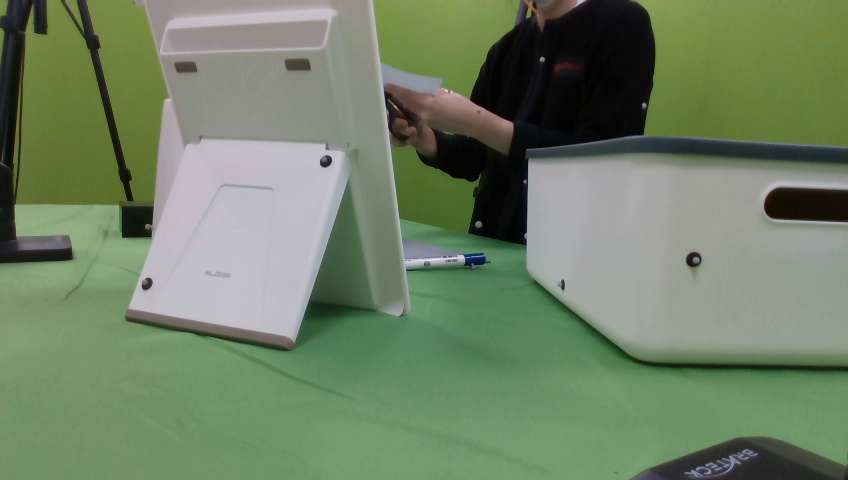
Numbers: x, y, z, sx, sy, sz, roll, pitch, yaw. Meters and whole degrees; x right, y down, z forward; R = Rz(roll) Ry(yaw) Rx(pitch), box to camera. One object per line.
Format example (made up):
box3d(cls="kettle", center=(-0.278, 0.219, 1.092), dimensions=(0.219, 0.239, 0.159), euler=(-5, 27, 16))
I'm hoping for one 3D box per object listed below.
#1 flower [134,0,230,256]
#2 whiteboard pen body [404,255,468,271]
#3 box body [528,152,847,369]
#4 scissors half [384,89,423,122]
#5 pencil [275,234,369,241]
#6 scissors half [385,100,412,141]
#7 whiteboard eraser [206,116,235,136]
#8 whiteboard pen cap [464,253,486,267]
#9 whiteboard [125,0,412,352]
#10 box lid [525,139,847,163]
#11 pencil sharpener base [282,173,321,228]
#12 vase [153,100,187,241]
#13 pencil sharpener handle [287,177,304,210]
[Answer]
box3d(cls="flower", center=(-0.282, -0.147, 0.713), dimensions=(0.038, 0.362, 0.044), euler=(-23, 24, -31))
box3d(cls="whiteboard pen body", center=(0.012, 0.030, 0.792), dimensions=(0.141, 0.017, 0.017), euler=(-3, 9, -24))
box3d(cls="box body", center=(0.258, -0.005, 0.591), dimensions=(0.254, 0.160, 0.363), euler=(2, 7, -4))
box3d(cls="scissors half", center=(-0.059, -0.256, 1.053), dimensions=(0.013, 0.040, 0.176), euler=(15, -6, 44))
box3d(cls="pencil", center=(-0.169, -0.006, 1.036), dimensions=(0.195, 0.012, 0.012), euler=(-2, 8, -45))
box3d(cls="scissors half", center=(-0.070, -0.238, 1.049), dimensions=(0.012, 0.040, 0.176), euler=(22, -25, 45))
box3d(cls="whiteboard eraser", center=(-0.450, -0.252, 1.335), dimensions=(0.056, 0.042, 0.112), euler=(1, 7, -22))
box3d(cls="whiteboard pen cap", center=(0.066, 0.027, 0.818), dimensions=(0.033, 0.018, 0.018), euler=(-6, 10, -24))
box3d(cls="whiteboard", center=(-0.151, -0.049, 0.472), dimensions=(0.216, 0.305, 0.144), euler=(6, 27, 24))
box3d(cls="box lid", center=(0.261, -0.078, 0.580), dimensions=(0.264, 0.015, 0.371), euler=(2, 7, -4))
box3d(cls="pencil sharpener base", center=(-0.247, -0.080, 1.212), dimensions=(0.061, 0.107, 0.076), euler=(-2, 5, -28))
box3d(cls="vase", center=(-0.278, -0.066, 0.736), dimensions=(0.098, 0.200, 0.098), euler=(2, 9, 0))
box3d(cls="pencil sharpener handle", center=(-0.269, -0.096, 1.257), dimensions=(0.036, 0.067, 0.030), euler=(-8, 8, -27))
